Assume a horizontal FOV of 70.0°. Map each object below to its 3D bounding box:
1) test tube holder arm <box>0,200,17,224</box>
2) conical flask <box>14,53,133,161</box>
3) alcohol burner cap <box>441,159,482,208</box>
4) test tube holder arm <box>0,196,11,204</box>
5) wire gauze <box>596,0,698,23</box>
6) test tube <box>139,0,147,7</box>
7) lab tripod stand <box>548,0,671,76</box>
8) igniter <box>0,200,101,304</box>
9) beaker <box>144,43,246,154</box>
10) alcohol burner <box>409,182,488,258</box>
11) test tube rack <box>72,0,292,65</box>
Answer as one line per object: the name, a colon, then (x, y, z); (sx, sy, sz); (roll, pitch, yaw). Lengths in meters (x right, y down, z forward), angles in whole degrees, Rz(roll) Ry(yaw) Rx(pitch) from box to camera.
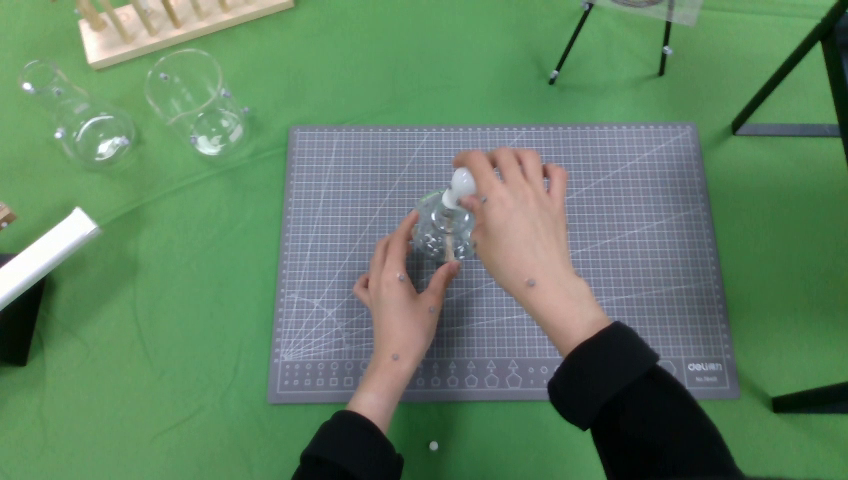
test tube holder arm: (-0.429, -0.004, 0.574); (0.088, 0.015, 0.010); (-43, 76, -14)
conical flask: (-0.358, -0.138, 0.614); (0.075, 0.122, 0.075); (0, 71, 1)
alcohol burner cap: (0.033, -0.051, 0.517); (0.034, 0.048, 0.033); (2, 70, -5)
test tube holder arm: (-0.464, 0.022, 0.564); (0.013, 0.015, 0.178); (43, 76, 13)
wire gauze: (0.210, -0.270, 0.579); (0.121, 0.011, 0.124); (21, 73, 5)
test tube: (-0.327, -0.306, 0.637); (0.017, 0.151, 0.017); (0, 64, -1)
lab tripod stand: (0.204, -0.246, 0.643); (0.148, 0.132, 0.147); (1, 70, -1)
igniter: (-0.419, 0.064, 0.547); (0.057, 0.025, 0.276); (43, 73, 11)
beaker: (-0.232, -0.138, 0.626); (0.074, 0.101, 0.083); (14, 72, 6)
alcohol burner: (0.024, -0.026, 0.577); (0.078, 0.120, 0.077); (1, 70, -1)
test tube rack: (-0.283, -0.286, 0.683); (0.242, 0.085, 0.066); (-20, 72, -7)
